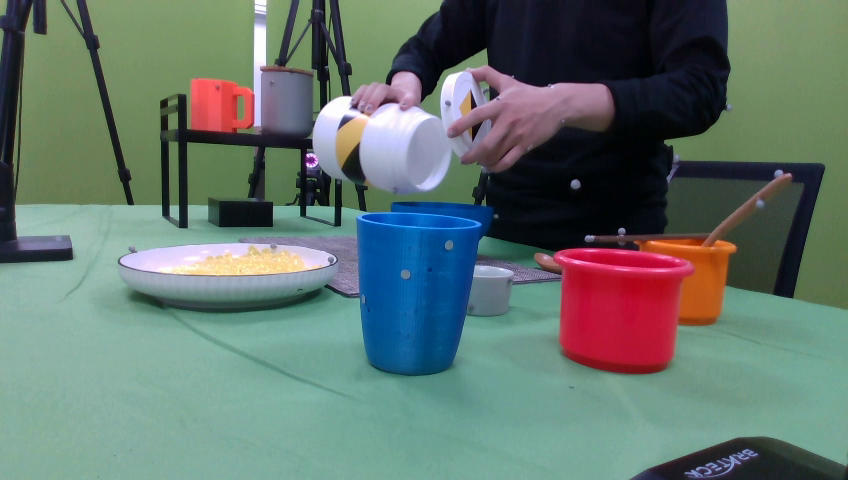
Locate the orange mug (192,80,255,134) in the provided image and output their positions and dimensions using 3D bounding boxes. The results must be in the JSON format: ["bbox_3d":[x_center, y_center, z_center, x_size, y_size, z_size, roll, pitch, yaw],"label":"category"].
[{"bbox_3d":[-0.389,-0.257,1.173,0.126,0.100,0.083,-1,7,9],"label":"orange mug"}]

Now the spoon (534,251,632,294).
[{"bbox_3d":[0.193,0.038,0.753,0.042,0.021,0.193,14,2,-21],"label":"spoon"}]

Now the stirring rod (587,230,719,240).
[{"bbox_3d":[0.226,-0.005,0.587,0.177,0.006,0.014,-2,10,-29],"label":"stirring rod"}]

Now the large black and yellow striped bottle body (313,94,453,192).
[{"bbox_3d":[-0.061,-0.145,0.910,0.183,0.130,0.131,17,15,35],"label":"large black and yellow striped bottle body"}]

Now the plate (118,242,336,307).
[{"bbox_3d":[-0.194,0.033,0.615,0.209,0.038,0.209,2,7,0],"label":"plate"}]

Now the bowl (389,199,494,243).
[{"bbox_3d":[0.023,-0.015,0.872,0.151,0.077,0.151,3,7,0],"label":"bowl"}]

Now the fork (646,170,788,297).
[{"bbox_3d":[0.256,0.004,0.543,0.028,0.018,0.207,3,-36,-10],"label":"fork"}]

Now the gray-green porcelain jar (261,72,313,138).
[{"bbox_3d":[-0.284,-0.276,1.253,0.106,0.126,0.106,2,8,0],"label":"gray-green porcelain jar"}]

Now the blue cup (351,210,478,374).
[{"bbox_3d":[-0.009,0.034,0.414,0.093,0.100,0.092,4,8,0],"label":"blue cup"}]

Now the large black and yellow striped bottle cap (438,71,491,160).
[{"bbox_3d":[0.056,-0.164,0.798,0.018,0.115,0.115,-7,1,32],"label":"large black and yellow striped bottle cap"}]

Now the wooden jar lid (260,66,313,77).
[{"bbox_3d":[-0.283,-0.339,1.244,0.108,0.020,0.108,5,8,0],"label":"wooden jar lid"}]

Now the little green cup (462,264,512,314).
[{"bbox_3d":[0.053,0.047,0.580,0.061,0.038,0.061,3,8,0],"label":"little green cup"}]
